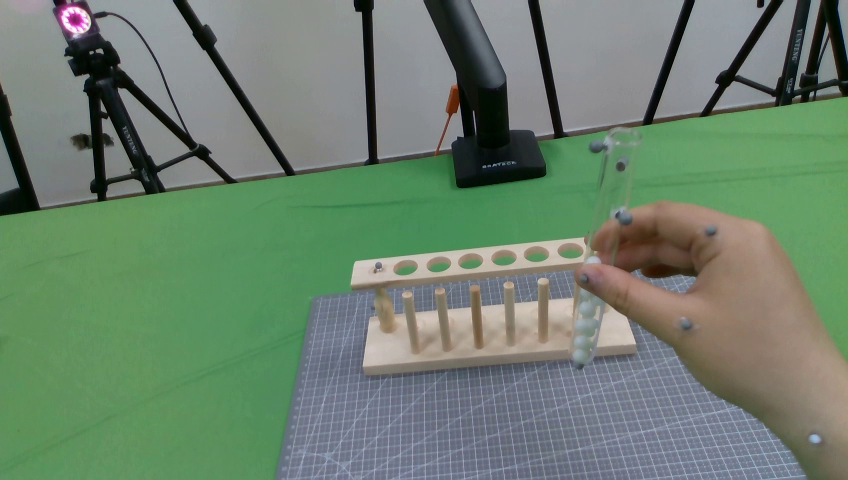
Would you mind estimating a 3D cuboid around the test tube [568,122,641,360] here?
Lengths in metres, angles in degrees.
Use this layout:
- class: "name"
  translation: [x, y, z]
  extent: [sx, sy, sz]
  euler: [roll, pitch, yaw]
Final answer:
- class: "test tube"
  translation: [0.090, 0.009, 0.312]
  extent: [0.017, 0.151, 0.017]
  euler: [-1, 39, 1]

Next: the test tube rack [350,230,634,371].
- class: "test tube rack"
  translation: [0.060, 0.056, 0.545]
  extent: [0.242, 0.086, 0.066]
  euler: [-6, 37, 6]
